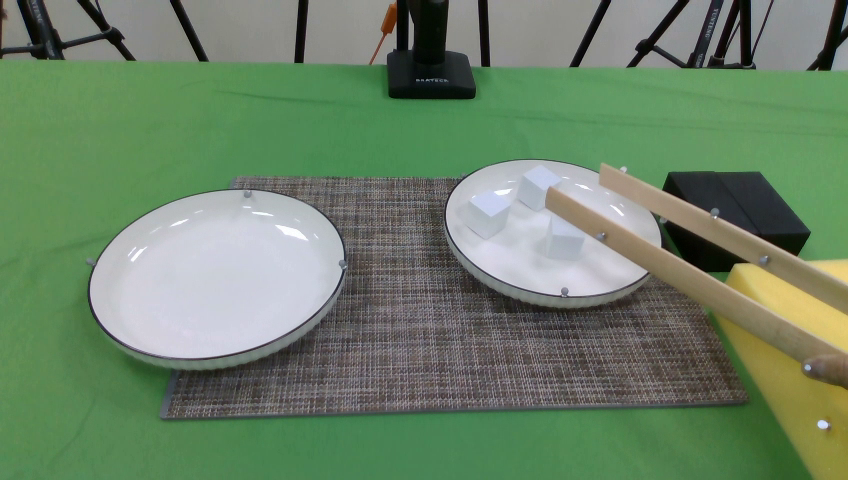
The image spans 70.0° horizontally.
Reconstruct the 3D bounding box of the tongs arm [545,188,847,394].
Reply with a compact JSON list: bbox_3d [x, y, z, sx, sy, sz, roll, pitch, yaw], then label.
[{"bbox_3d":[0.233,0.051,0.427,0.028,0.028,0.383,-24,42,-32],"label":"tongs arm"}]

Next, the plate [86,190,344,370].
[{"bbox_3d":[-0.173,0.032,0.525,0.209,0.038,0.207,3,41,-2],"label":"plate"}]

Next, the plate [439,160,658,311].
[{"bbox_3d":[0.117,-0.005,0.591,0.208,0.039,0.205,3,42,-2],"label":"plate"}]

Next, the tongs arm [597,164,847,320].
[{"bbox_3d":[0.266,0.035,0.445,0.051,0.027,0.380,-26,44,-29],"label":"tongs arm"}]

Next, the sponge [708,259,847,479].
[{"bbox_3d":[0.330,0.108,0.470,0.118,0.061,0.204,-3,43,-7],"label":"sponge"}]
